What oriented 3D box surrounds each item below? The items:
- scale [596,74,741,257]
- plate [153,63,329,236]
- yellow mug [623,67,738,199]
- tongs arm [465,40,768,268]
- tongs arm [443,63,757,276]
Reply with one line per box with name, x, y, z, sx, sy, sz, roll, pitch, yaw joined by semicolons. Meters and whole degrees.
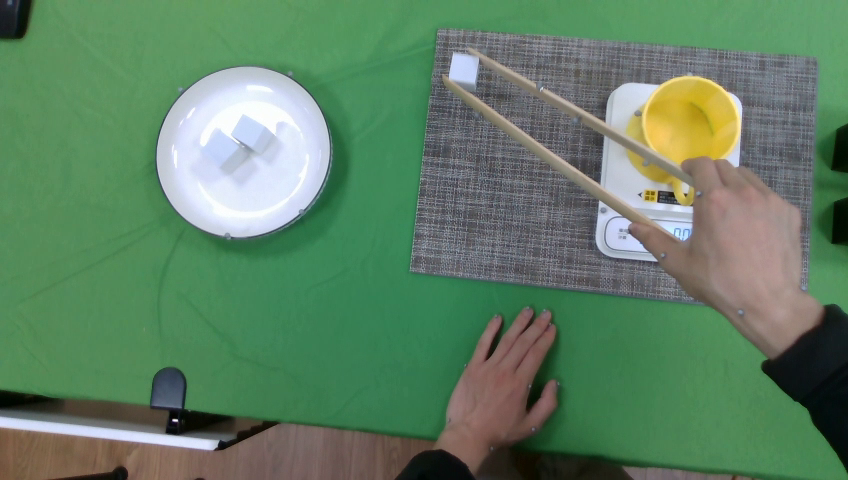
scale;0.277;-0.085;0.689;0.148;0.031;0.200;5;85;5
plate;-0.214;-0.105;0.723;0.207;0.039;0.207;0;84;3
yellow mug;0.272;-0.109;0.645;0.100;0.064;0.130;-5;85;2
tongs arm;0.154;-0.101;0.574;0.051;0.027;0.380;-47;55;-3
tongs arm;0.136;-0.083;0.575;0.028;0.028;0.383;-42;54;-3
